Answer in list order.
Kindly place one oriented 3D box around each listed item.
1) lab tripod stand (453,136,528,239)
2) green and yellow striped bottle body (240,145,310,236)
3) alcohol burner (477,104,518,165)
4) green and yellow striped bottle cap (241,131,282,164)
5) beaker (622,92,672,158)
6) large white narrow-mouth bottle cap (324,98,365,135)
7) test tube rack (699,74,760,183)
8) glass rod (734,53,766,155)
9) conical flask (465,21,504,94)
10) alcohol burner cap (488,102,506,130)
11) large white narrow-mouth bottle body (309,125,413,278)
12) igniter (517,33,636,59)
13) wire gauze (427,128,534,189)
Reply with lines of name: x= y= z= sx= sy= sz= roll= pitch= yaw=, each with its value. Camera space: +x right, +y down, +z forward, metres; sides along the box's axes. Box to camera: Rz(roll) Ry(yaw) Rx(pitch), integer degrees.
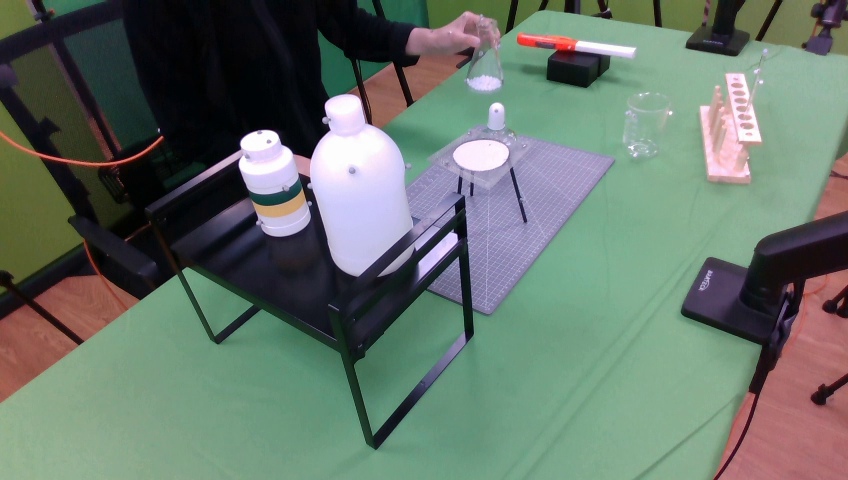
lab tripod stand: x=0.094 y=-0.086 z=0.974 sx=0.148 sy=0.132 sz=0.147 roll=-4 pitch=43 yaw=4
green and yellow striped bottle body: x=-0.181 y=-0.068 z=0.729 sx=0.063 sy=0.120 sz=0.063 roll=-4 pitch=40 yaw=4
alcohol burner: x=0.135 y=-0.200 z=1.117 sx=0.078 sy=0.119 sz=0.077 roll=-4 pitch=43 yaw=4
green and yellow striped bottle cap: x=-0.187 y=-0.107 z=0.695 sx=0.045 sy=0.020 sz=0.045 roll=-3 pitch=39 yaw=3
beaker: x=0.402 y=-0.210 z=1.106 sx=0.074 sy=0.101 sz=0.083 roll=-9 pitch=40 yaw=-2
large white narrow-mouth bottle cap: x=-0.076 y=-0.120 z=0.585 sx=0.038 sy=0.024 sz=0.037 roll=-3 pitch=42 yaw=3
test tube rack: x=0.547 y=-0.208 z=1.095 sx=0.066 sy=0.085 sz=0.242 roll=6 pitch=42 yaw=16
glass rod: x=0.540 y=-0.220 z=1.007 sx=0.008 sy=0.201 sz=0.008 roll=-5 pitch=45 yaw=6
conical flask: x=0.115 y=-0.340 z=1.123 sx=0.075 sy=0.122 sz=0.075 roll=0 pitch=38 yaw=1
alcohol burner cap: x=0.133 y=-0.227 z=1.092 sx=0.034 sy=0.048 sz=0.033 roll=-2 pitch=47 yaw=2
large white narrow-mouth bottle body: x=-0.068 y=-0.057 z=0.645 sx=0.102 sy=0.195 sz=0.101 roll=-3 pitch=42 yaw=4
igniter: x=0.336 y=-0.441 z=1.369 sx=0.275 sy=0.025 sz=0.057 roll=16 pitch=41 yaw=23
wire gauze: x=0.086 y=-0.131 z=0.924 sx=0.124 sy=0.011 sz=0.122 roll=26 pitch=52 yaw=33
